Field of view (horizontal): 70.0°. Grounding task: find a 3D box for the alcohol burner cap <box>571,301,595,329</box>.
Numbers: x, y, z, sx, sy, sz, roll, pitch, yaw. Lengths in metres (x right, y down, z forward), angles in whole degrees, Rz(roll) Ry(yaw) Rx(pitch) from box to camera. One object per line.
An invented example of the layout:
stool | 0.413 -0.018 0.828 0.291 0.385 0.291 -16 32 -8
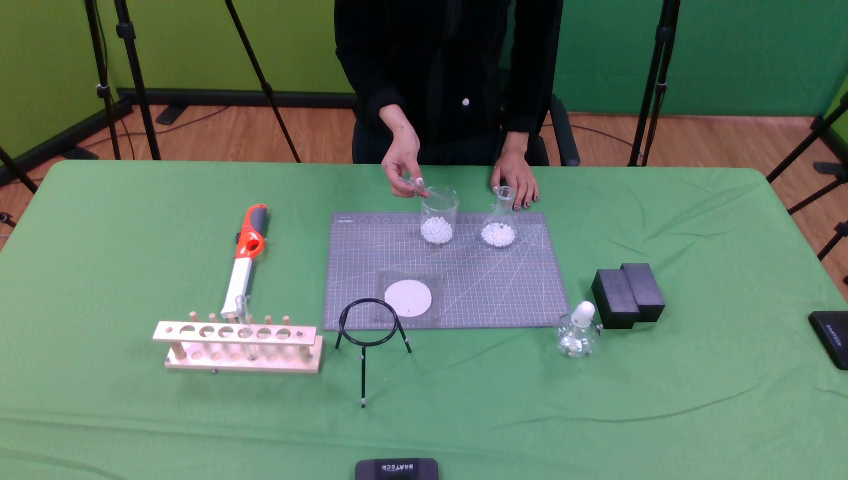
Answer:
alcohol burner cap | 0.262 0.120 0.991 0.034 0.048 0.033 2 52 -2

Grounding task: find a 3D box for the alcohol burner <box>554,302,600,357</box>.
alcohol burner | 0.260 0.143 1.018 0.078 0.119 0.077 3 45 -3

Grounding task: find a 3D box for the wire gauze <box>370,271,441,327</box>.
wire gauze | -0.032 0.103 1.104 0.125 0.011 0.121 4 46 3

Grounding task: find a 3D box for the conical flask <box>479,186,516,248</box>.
conical flask | 0.150 -0.049 1.186 0.075 0.122 0.075 2 46 -2

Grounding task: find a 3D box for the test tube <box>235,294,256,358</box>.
test tube | -0.274 0.136 0.933 0.017 0.151 0.017 4 46 -4

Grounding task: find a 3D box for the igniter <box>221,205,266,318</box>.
igniter | -0.337 0.030 1.140 0.057 0.025 0.274 -6 46 3

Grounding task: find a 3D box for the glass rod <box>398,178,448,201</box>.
glass rod | 0.002 -0.091 1.105 0.008 0.008 0.200 33 8 25

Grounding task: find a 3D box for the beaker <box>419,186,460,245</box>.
beaker | 0.025 -0.047 1.190 0.074 0.101 0.083 -29 54 -29

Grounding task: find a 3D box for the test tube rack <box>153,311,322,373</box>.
test tube rack | -0.293 0.160 0.978 0.242 0.085 0.066 3 46 -2

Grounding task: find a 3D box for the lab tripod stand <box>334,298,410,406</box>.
lab tripod stand | -0.086 0.164 0.957 0.148 0.132 0.147 3 44 -2
